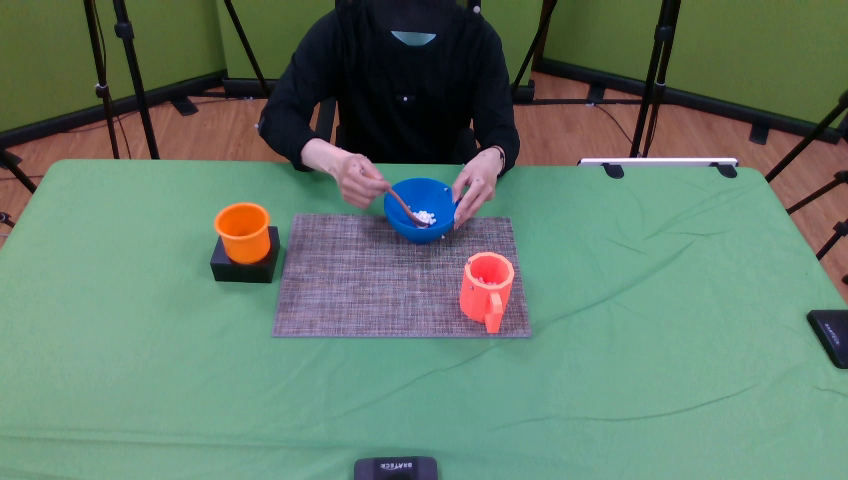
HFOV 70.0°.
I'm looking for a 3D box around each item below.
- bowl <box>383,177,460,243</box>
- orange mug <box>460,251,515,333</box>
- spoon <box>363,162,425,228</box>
[{"bbox_3d":[-0.006,-0.047,1.197,0.151,0.077,0.150,2,46,-1],"label":"bowl"},{"bbox_3d":[0.113,0.095,1.053,0.083,0.101,0.125,-5,42,-8],"label":"orange mug"},{"bbox_3d":[-0.055,-0.085,1.156,0.021,0.195,0.041,-13,47,30],"label":"spoon"}]
